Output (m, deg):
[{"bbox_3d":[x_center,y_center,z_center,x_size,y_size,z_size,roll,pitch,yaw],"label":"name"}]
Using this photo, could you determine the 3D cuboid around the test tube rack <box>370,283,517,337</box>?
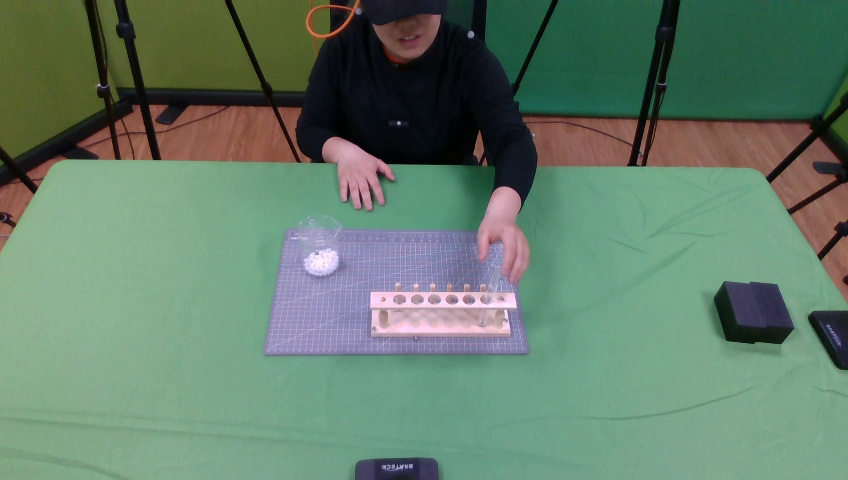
[{"bbox_3d":[0.030,0.116,1.041,0.242,0.085,0.066,1,46,-4],"label":"test tube rack"}]

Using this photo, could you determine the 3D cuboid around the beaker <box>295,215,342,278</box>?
[{"bbox_3d":[-0.191,0.013,1.114,0.084,0.101,0.073,-12,49,-17],"label":"beaker"}]

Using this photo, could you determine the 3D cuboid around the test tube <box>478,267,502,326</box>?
[{"bbox_3d":[0.107,0.096,0.998,0.017,0.151,0.017,4,48,-4],"label":"test tube"}]
